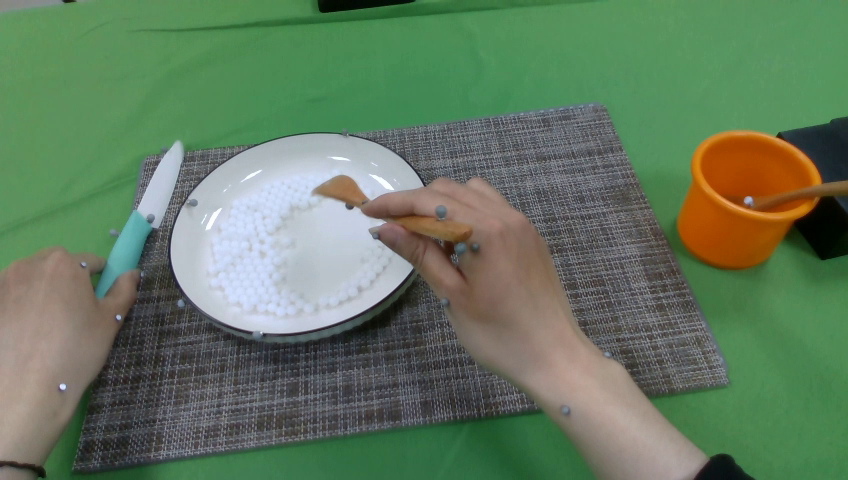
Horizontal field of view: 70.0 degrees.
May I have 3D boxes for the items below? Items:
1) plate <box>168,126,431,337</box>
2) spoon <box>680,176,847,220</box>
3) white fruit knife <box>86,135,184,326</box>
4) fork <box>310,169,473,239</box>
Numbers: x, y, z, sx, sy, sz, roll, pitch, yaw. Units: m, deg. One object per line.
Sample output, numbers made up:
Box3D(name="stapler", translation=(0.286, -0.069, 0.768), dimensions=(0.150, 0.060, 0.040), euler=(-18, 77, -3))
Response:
Box3D(name="plate", translation=(-0.096, -0.010, 0.493), dimensions=(0.209, 0.038, 0.207), euler=(-1, 52, 2))
Box3D(name="spoon", translation=(0.270, -0.033, 0.431), dimensions=(0.041, 0.193, 0.022), euler=(-38, 104, -25))
Box3D(name="white fruit knife", translation=(-0.243, -0.020, 0.521), dimensions=(0.027, 0.016, 0.205), euler=(25, 47, -24))
Box3D(name="fork", translation=(-0.030, -0.025, 0.381), dimensions=(0.028, 0.019, 0.205), euler=(-29, 28, -22))
